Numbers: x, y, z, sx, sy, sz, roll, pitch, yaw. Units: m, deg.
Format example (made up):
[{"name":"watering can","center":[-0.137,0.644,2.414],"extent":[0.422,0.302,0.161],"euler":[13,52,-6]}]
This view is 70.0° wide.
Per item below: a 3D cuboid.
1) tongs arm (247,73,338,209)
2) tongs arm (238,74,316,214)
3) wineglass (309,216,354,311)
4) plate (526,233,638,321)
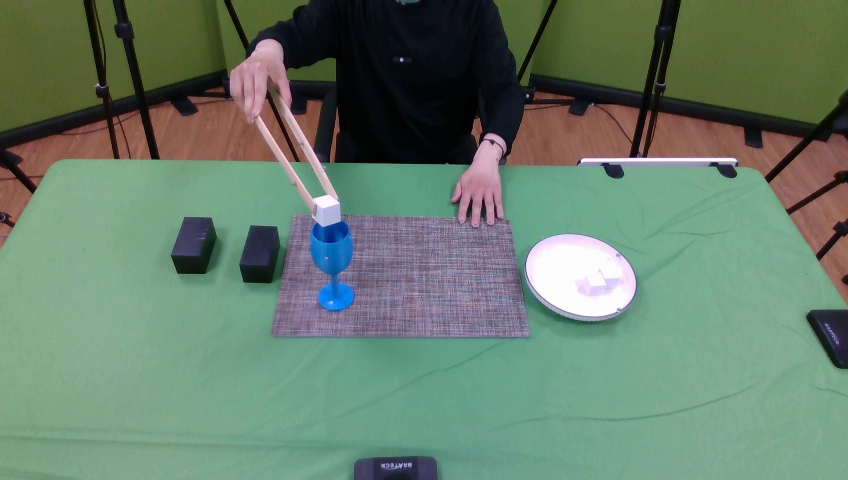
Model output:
[{"name":"tongs arm","center":[-0.237,-0.181,1.049],"extent":[0.051,0.026,0.382],"euler":[-12,48,-24]},{"name":"tongs arm","center":[-0.258,-0.176,1.038],"extent":[0.028,0.028,0.385],"euler":[-18,51,-24]},{"name":"wineglass","center":[-0.155,0.043,1.032],"extent":[0.074,0.173,0.073],"euler":[2,46,-2]},{"name":"plate","center":[0.292,0.071,1.135],"extent":[0.209,0.038,0.208],"euler":[2,46,-2]}]
